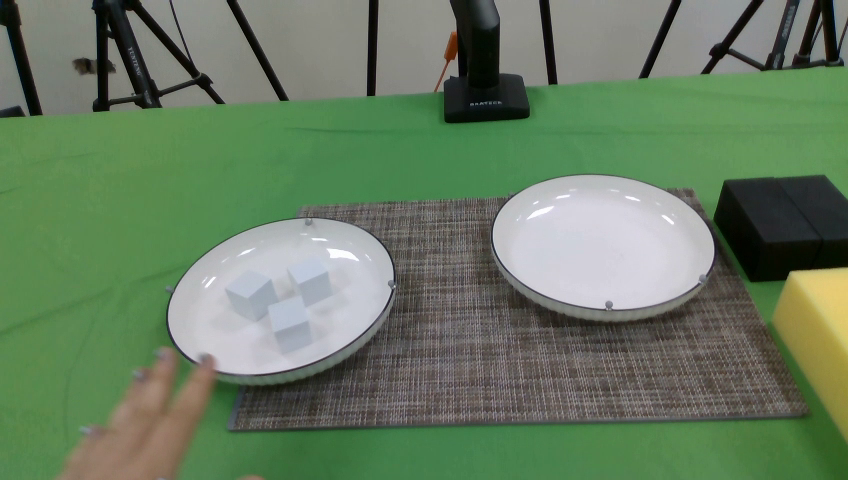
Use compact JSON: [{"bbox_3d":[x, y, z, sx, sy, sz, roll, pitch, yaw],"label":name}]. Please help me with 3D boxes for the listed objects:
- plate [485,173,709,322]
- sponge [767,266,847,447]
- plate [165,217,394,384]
[{"bbox_3d":[0.164,0.007,0.593,0.207,0.039,0.205,-3,40,3],"label":"plate"},{"bbox_3d":[0.362,0.108,0.439,0.118,0.061,0.204,-5,40,1],"label":"sponge"},{"bbox_3d":[-0.130,0.055,0.568,0.209,0.038,0.207,-3,39,3],"label":"plate"}]
